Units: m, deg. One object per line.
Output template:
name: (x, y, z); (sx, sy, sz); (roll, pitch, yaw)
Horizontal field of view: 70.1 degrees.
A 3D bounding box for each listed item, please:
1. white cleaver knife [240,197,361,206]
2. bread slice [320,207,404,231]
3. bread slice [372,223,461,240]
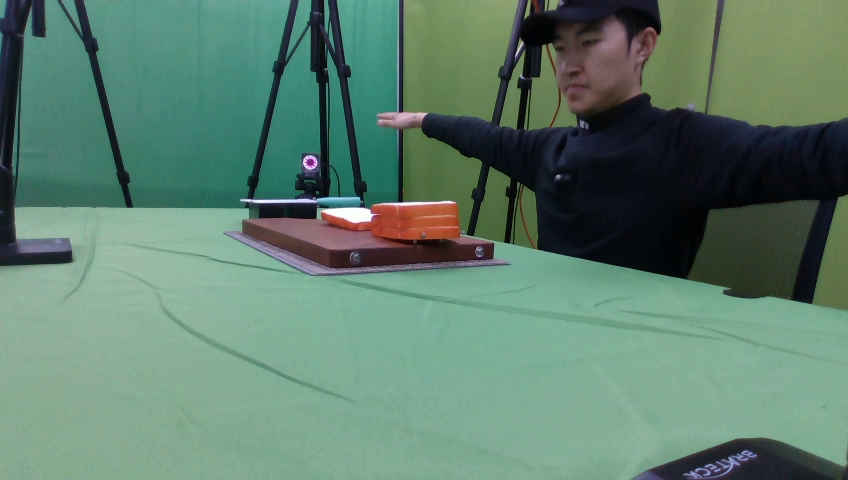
white cleaver knife: (-0.254, -0.086, 1.296); (0.065, 0.021, 0.288); (9, 7, 43)
bread slice: (-0.114, -0.037, 1.042); (0.105, 0.019, 0.131); (-6, 16, -41)
bread slice: (-0.009, -0.013, 0.888); (0.107, 0.018, 0.134); (-3, 5, -21)
